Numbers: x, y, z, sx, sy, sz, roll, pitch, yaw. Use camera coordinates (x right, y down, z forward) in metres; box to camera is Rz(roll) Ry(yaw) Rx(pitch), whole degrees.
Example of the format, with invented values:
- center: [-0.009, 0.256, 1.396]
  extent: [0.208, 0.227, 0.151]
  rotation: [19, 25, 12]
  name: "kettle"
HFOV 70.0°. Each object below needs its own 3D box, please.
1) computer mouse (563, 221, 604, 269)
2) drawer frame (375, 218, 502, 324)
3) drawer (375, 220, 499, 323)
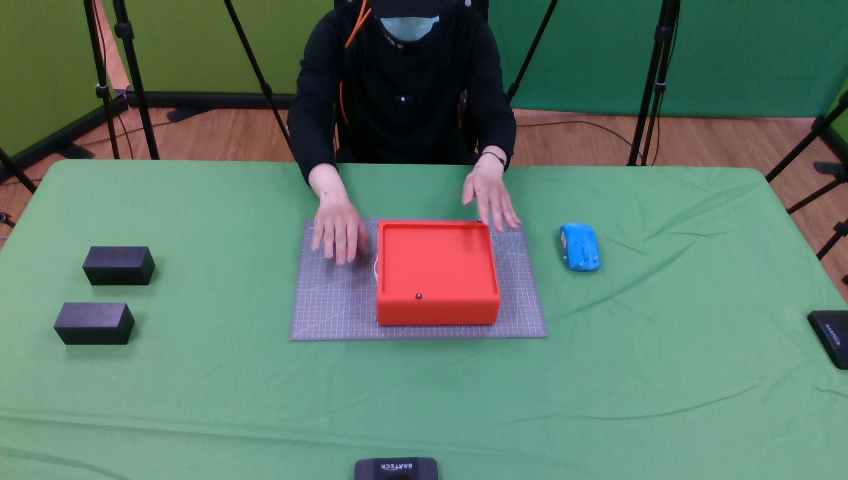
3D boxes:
- center: [0.314, 0.006, 1.196]
  extent: [0.063, 0.041, 0.116]
  rotation: [1, 51, -5]
  name: "computer mouse"
- center: [0.020, 0.053, 1.097]
  extent: [0.214, 0.083, 0.200]
  rotation: [0, 46, -4]
  name: "drawer frame"
- center: [0.018, 0.053, 1.097]
  extent: [0.212, 0.073, 0.193]
  rotation: [0, 46, -3]
  name: "drawer"
